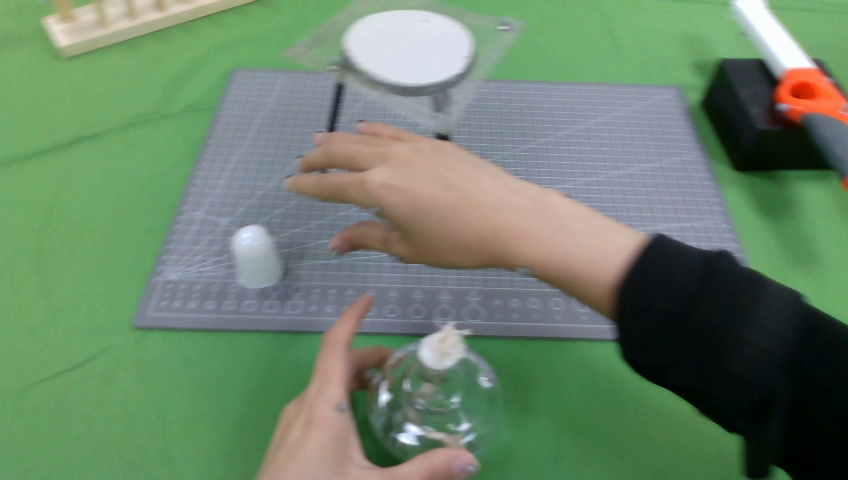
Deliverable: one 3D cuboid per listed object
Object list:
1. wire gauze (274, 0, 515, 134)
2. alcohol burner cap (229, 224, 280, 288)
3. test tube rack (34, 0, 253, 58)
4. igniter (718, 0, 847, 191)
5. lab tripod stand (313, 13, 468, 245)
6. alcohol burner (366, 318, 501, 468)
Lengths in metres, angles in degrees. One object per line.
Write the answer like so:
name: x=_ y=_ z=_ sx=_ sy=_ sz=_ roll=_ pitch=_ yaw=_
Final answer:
wire gauze: x=-0.016 y=-0.130 z=0.405 sx=0.124 sy=0.011 sz=0.121 roll=25 pitch=54 yaw=14
alcohol burner cap: x=-0.123 y=0.008 z=0.433 sx=0.034 sy=0.048 sz=0.033 roll=2 pitch=50 yaw=-3
test tube rack: x=-0.286 y=-0.281 z=0.638 sx=0.242 sy=0.086 sz=0.066 roll=-28 pitch=58 yaw=-23
igniter: x=0.322 y=-0.139 z=0.529 sx=0.057 sy=0.025 sz=0.273 roll=-2 pitch=48 yaw=-1
lab tripod stand: x=-0.014 y=-0.086 z=0.457 sx=0.148 sy=0.132 sz=0.147 roll=3 pitch=51 yaw=-3
alcohol burner: x=0.006 y=0.081 z=0.338 sx=0.078 sy=0.120 sz=0.077 roll=0 pitch=51 yaw=0
